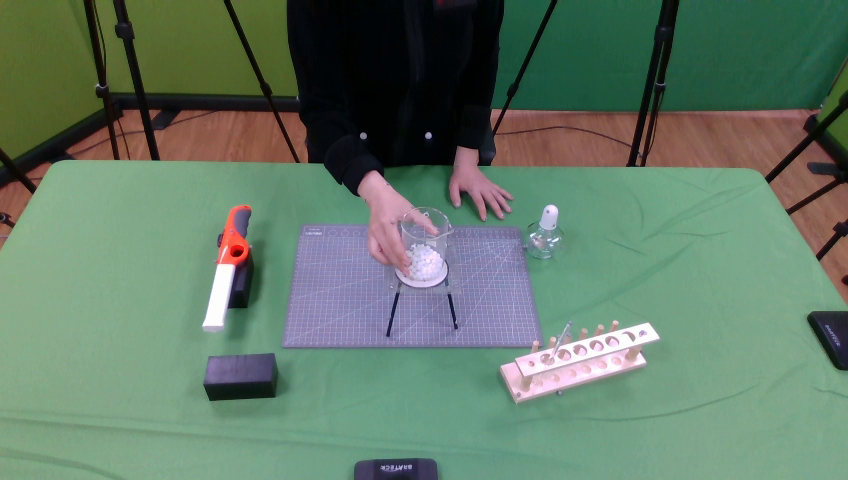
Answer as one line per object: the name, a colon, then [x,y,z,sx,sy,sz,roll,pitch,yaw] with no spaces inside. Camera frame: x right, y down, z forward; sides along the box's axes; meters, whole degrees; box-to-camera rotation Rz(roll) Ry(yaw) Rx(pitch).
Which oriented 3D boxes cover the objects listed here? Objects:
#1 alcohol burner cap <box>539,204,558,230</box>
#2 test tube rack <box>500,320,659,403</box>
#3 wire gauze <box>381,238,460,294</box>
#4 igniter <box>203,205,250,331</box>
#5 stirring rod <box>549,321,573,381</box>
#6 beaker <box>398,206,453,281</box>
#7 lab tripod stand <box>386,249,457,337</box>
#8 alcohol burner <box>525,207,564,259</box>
alcohol burner cap: [0.239,-0.045,1.148,0.034,0.048,0.033,2,42,-1]
test tube rack: [0.252,0.187,0.994,0.243,0.085,0.066,-12,48,-15]
wire gauze: [-0.007,0.042,0.985,0.125,0.011,0.120,-2,43,-2]
igniter: [-0.345,0.039,1.065,0.057,0.025,0.274,2,49,-6]
stirring rod: [0.202,0.167,0.901,0.006,0.177,0.014,-18,55,-11]
beaker: [0.000,0.009,0.950,0.084,0.101,0.073,10,46,6]
lab tripod stand: [-0.010,0.087,1.032,0.148,0.132,0.147,1,45,-1]
alcohol burner: [0.236,-0.020,1.174,0.078,0.120,0.077,1,48,-1]
